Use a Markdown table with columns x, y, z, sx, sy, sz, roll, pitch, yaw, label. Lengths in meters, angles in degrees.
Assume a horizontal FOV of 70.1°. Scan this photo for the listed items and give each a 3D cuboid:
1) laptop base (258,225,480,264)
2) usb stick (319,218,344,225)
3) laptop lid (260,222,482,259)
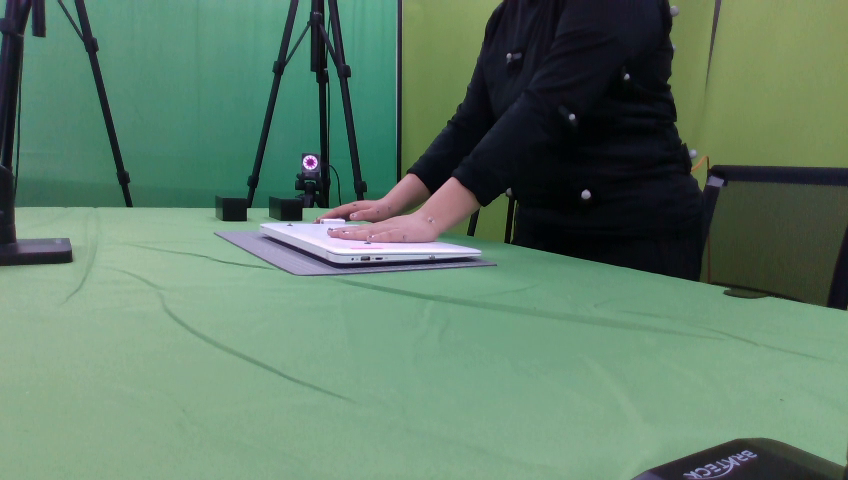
| x | y | z | sx | sy | sz | roll | pitch | yaw | label |
| --- | --- | --- | --- | --- | --- | --- | --- | --- | --- |
| -0.103 | 0.007 | 0.962 | 0.237 | 0.023 | 0.352 | 2 | 6 | -32 | laptop base |
| -0.184 | -0.027 | 1.153 | 0.059 | 0.027 | 0.021 | -6 | 14 | -31 | usb stick |
| -0.100 | -0.003 | 0.962 | 0.243 | 0.013 | 0.355 | 2 | 7 | -30 | laptop lid |
